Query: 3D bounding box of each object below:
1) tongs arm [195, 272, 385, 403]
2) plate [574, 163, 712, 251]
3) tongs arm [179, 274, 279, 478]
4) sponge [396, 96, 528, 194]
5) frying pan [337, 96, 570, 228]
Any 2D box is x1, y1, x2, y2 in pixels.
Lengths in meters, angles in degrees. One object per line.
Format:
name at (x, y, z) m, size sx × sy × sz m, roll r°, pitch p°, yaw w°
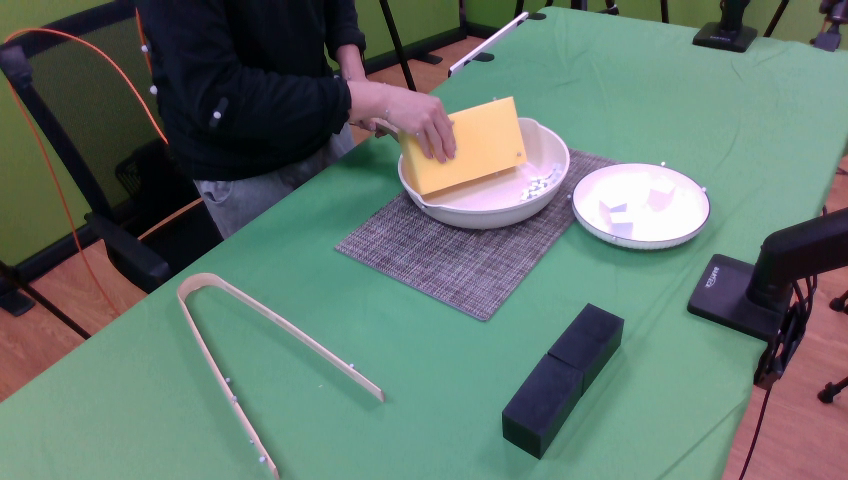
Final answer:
tongs arm at (-0.198, 0.126, 0.847) m, size 0.384 × 0.028 × 0.028 m, roll 25°, pitch 52°, yaw 32°
plate at (0.344, -0.050, 0.966) m, size 0.207 × 0.039 × 0.206 m, roll -4°, pitch 40°, yaw 4°
tongs arm at (-0.260, 0.161, 0.807) m, size 0.051 × 0.026 × 0.381 m, roll -28°, pitch 44°, yaw -25°
sponge at (0.067, -0.165, 1.054) m, size 0.208 × 0.118 × 0.060 m, roll -20°, pitch 11°, yaw -16°
frying pan at (0.023, -0.167, 1.090) m, size 0.484 × 0.103 × 0.308 m, roll 32°, pitch 52°, yaw 26°
